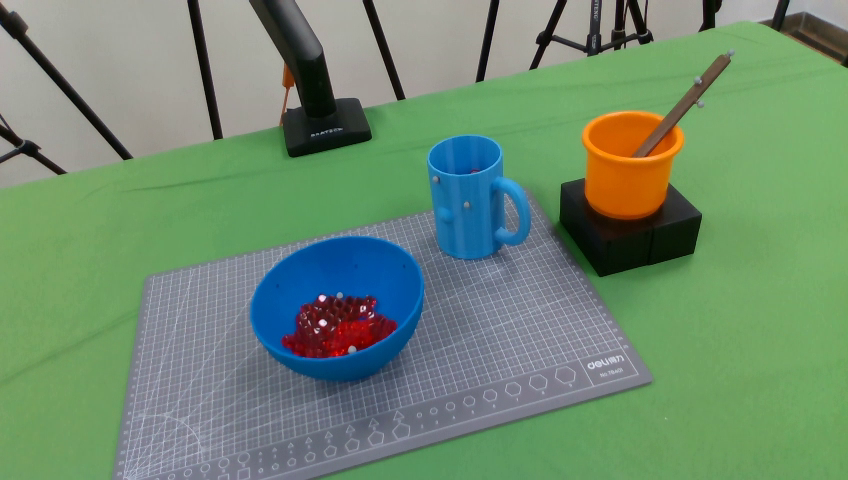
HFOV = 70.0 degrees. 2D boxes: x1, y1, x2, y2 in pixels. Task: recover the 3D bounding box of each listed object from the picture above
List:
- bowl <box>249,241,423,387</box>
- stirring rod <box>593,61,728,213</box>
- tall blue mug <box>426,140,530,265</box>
[{"bbox_3d":[-0.071,0.078,0.542,0.151,0.077,0.150,-5,40,4],"label":"bowl"},{"bbox_3d":[0.223,-0.096,0.577,0.176,0.006,0.014,-52,39,14],"label":"stirring rod"},{"bbox_3d":[0.060,-0.037,0.631,0.107,0.109,0.077,4,41,14],"label":"tall blue mug"}]
